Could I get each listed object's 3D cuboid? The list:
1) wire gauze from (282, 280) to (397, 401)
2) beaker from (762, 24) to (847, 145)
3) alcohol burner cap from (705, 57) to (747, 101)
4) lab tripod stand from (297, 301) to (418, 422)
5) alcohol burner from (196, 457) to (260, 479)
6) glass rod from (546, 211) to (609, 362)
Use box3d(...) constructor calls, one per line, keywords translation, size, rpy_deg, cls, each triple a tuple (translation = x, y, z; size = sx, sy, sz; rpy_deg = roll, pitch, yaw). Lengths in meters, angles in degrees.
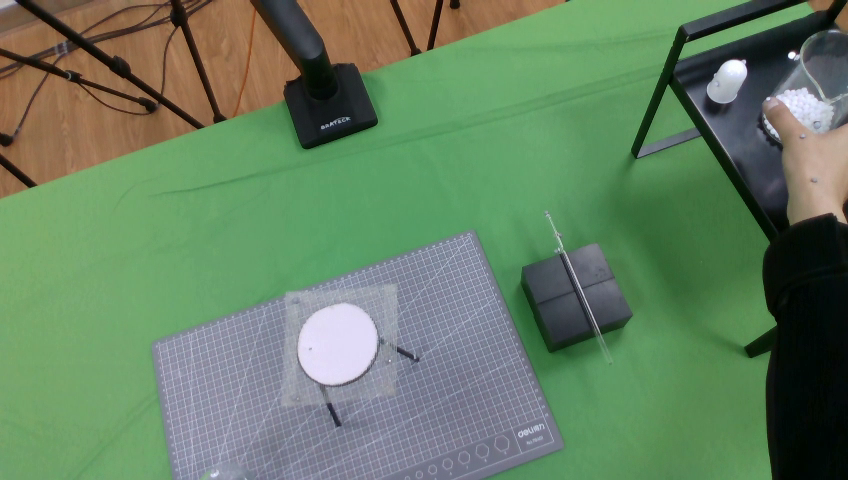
box3d(translation=(-0.088, 0.103, 0.636), size=(0.121, 0.011, 0.124), rpy_deg=(-4, 67, 4), cls="wire gauze")
box3d(translation=(0.386, -0.145, 0.595), size=(0.073, 0.101, 0.083), rpy_deg=(23, 71, 14), cls="beaker")
box3d(translation=(0.324, -0.174, 0.644), size=(0.034, 0.048, 0.033), rpy_deg=(-2, 65, 4), cls="alcohol burner cap")
box3d(translation=(-0.088, 0.130, 0.698), size=(0.148, 0.132, 0.147), rpy_deg=(-3, 67, 7), cls="lab tripod stand")
box3d(translation=(-0.222, 0.276, 0.659), size=(0.078, 0.120, 0.077), rpy_deg=(-1, 68, 4), cls="alcohol burner")
box3d(translation=(0.182, 0.051, 0.725), size=(0.008, 0.008, 0.198), rpy_deg=(-16, 67, -2), cls="glass rod")
